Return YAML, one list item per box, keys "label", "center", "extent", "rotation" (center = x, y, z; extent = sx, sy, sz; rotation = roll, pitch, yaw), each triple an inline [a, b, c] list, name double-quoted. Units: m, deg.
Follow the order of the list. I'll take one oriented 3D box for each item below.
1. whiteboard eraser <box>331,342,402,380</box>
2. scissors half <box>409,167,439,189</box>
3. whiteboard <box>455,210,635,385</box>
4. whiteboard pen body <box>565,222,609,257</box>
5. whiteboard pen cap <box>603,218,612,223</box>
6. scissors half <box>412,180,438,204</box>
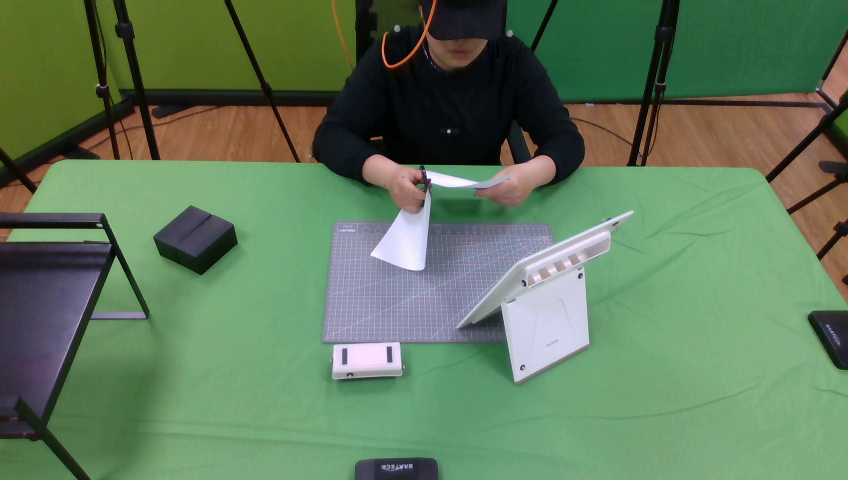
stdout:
- label: "whiteboard eraser"
  center: [-0.094, 0.198, 0.986]
  extent: [0.113, 0.042, 0.055]
  rotation: [-2, 44, -6]
- label: "scissors half"
  center: [0.000, -0.114, 1.141]
  extent: [0.013, 0.040, 0.174]
  rotation: [-14, 16, -15]
- label: "whiteboard"
  center: [0.211, 0.111, 0.955]
  extent: [0.217, 0.306, 0.143]
  rotation: [-21, 71, -23]
- label: "whiteboard pen body"
  center: [0.335, -0.004, 1.229]
  extent: [0.141, 0.017, 0.017]
  rotation: [-33, 56, -29]
- label: "whiteboard pen cap"
  center: [0.379, -0.031, 1.255]
  extent: [0.033, 0.018, 0.018]
  rotation: [-33, 57, -29]
- label: "scissors half"
  center: [0.004, -0.094, 1.145]
  extent: [0.013, 0.175, 0.040]
  rotation: [-20, 89, -14]
